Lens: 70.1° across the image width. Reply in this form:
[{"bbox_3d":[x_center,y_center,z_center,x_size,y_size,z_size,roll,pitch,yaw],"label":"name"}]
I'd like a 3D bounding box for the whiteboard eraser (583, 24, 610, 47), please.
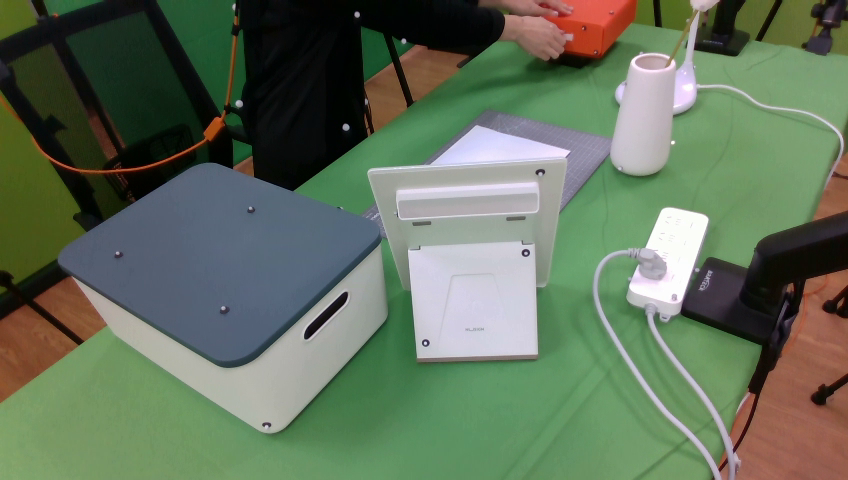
[{"bbox_3d":[0.407,-0.479,1.423,0.055,0.042,0.113,-3,9,20],"label":"whiteboard eraser"}]

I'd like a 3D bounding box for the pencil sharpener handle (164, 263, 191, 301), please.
[{"bbox_3d":[-0.354,0.055,0.866,0.036,0.068,0.030,-17,39,-29],"label":"pencil sharpener handle"}]

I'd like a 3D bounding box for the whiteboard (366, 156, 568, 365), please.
[{"bbox_3d":[0.059,0.050,0.738,0.217,0.307,0.143,-2,60,6],"label":"whiteboard"}]

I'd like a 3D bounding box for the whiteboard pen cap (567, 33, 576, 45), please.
[{"bbox_3d":[0.339,-0.463,1.390,0.018,0.018,0.033,-2,43,6],"label":"whiteboard pen cap"}]

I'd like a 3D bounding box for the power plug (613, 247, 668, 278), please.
[{"bbox_3d":[0.306,0.031,0.851,0.072,0.053,0.035,24,49,34],"label":"power plug"}]

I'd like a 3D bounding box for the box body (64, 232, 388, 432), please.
[{"bbox_3d":[-0.256,0.065,0.827,0.361,0.161,0.255,20,48,29],"label":"box body"}]

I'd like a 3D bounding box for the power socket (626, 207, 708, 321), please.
[{"bbox_3d":[0.359,0.025,0.886,0.072,0.033,0.227,16,46,26],"label":"power socket"}]

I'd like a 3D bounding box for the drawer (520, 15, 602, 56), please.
[{"bbox_3d":[0.359,-0.516,1.417,0.193,0.073,0.212,19,47,29],"label":"drawer"}]

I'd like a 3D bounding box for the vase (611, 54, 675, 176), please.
[{"bbox_3d":[0.377,-0.209,1.031,0.098,0.201,0.097,-3,40,3],"label":"vase"}]

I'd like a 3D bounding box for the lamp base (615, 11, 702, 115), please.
[{"bbox_3d":[0.484,-0.363,1.211,0.180,0.181,0.159,-15,41,-14],"label":"lamp base"}]

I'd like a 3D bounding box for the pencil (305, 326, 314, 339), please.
[{"bbox_3d":[-0.187,0.106,0.880,0.012,0.012,0.192,-27,42,-22],"label":"pencil"}]

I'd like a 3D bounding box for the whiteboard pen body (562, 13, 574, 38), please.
[{"bbox_3d":[0.342,-0.506,1.430,0.017,0.017,0.140,-2,40,6],"label":"whiteboard pen body"}]

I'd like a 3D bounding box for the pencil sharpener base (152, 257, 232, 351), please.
[{"bbox_3d":[-0.322,0.088,0.841,0.061,0.107,0.076,-28,44,-20],"label":"pencil sharpener base"}]

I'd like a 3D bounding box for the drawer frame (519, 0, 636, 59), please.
[{"bbox_3d":[0.362,-0.518,1.423,0.200,0.083,0.214,19,48,29],"label":"drawer frame"}]

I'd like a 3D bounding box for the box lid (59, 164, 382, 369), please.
[{"bbox_3d":[-0.263,0.010,0.777,0.368,0.015,0.264,20,47,29],"label":"box lid"}]

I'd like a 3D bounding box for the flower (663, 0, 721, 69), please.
[{"bbox_3d":[0.379,-0.261,0.965,0.044,0.362,0.038,19,52,4],"label":"flower"}]
